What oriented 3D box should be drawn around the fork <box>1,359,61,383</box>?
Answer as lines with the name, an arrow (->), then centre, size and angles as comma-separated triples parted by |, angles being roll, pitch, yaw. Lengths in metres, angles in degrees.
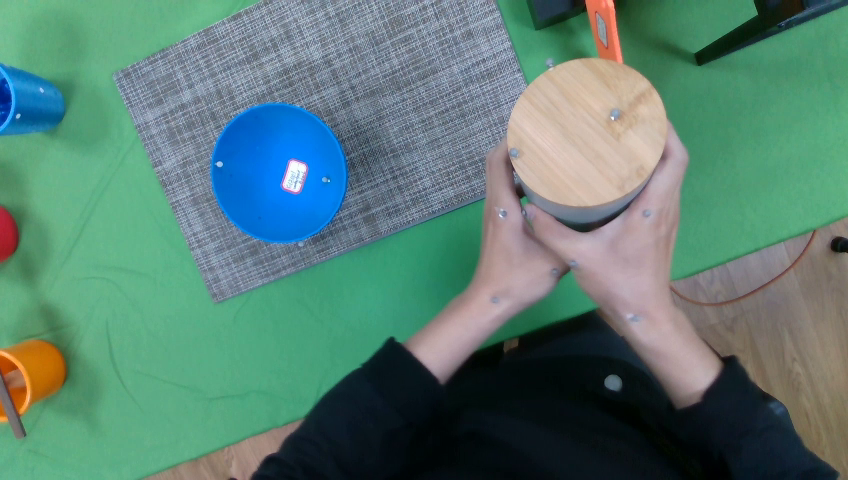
fork -> -0.559, 0.175, 0.731 | 0.208, 0.018, 0.028 | -8, 109, -37

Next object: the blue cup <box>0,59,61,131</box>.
blue cup -> -0.479, -0.165, 0.697 | 0.092, 0.100, 0.093 | 1, 99, 4

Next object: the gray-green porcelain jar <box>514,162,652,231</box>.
gray-green porcelain jar -> 0.129, -0.066, 0.490 | 0.105, 0.127, 0.105 | -3, 79, 16

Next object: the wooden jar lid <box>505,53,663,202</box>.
wooden jar lid -> 0.112, -0.079, 0.431 | 0.108, 0.021, 0.108 | -3, 80, 17

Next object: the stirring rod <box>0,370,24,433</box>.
stirring rod -> -0.514, 0.149, 0.721 | 0.014, 0.006, 0.176 | -17, 97, 5

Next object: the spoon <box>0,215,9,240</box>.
spoon -> -0.605, 0.002, 0.714 | 0.194, 0.021, 0.041 | -16, 96, -35

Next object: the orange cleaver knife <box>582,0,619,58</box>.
orange cleaver knife -> 0.196, -0.180, 0.634 | 0.012, 0.076, 0.213 | -25, 124, 5

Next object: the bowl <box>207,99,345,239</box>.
bowl -> -0.156, -0.079, 0.684 | 0.151, 0.076, 0.151 | 1, 98, 6
